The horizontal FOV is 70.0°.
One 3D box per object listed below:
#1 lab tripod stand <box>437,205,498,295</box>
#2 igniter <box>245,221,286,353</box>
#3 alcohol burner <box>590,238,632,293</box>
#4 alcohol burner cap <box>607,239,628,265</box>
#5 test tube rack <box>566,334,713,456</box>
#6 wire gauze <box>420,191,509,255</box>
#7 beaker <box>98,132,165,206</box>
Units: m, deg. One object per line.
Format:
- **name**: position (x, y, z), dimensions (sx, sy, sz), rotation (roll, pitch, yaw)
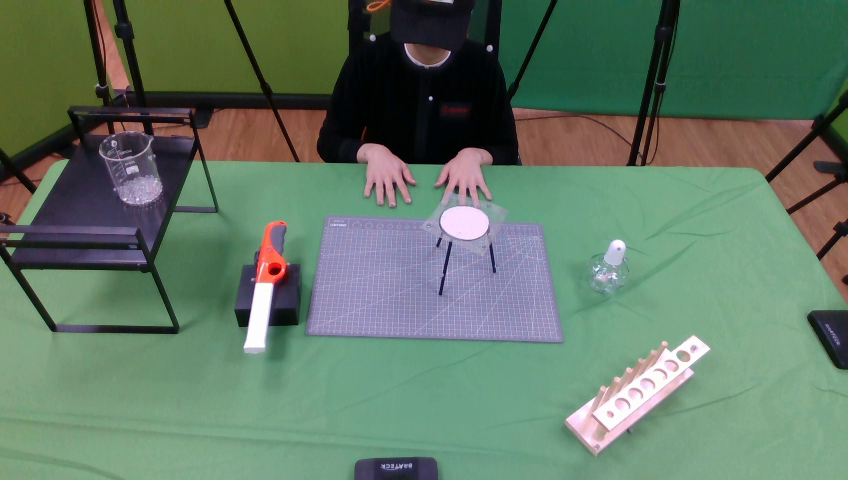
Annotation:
- **lab tripod stand**: position (0.066, 0.010, 1.107), dimensions (0.148, 0.132, 0.147), rotation (0, 46, 0)
- **igniter**: position (-0.270, 0.070, 1.040), dimensions (0.057, 0.025, 0.274), rotation (2, 48, -6)
- **alcohol burner**: position (0.348, 0.040, 1.114), dimensions (0.078, 0.119, 0.077), rotation (3, 44, -2)
- **alcohol burner cap**: position (0.351, 0.019, 1.091), dimensions (0.034, 0.048, 0.033), rotation (2, 45, -1)
- **test tube rack**: position (0.339, 0.228, 0.951), dimensions (0.242, 0.085, 0.066), rotation (-26, 52, -26)
- **wire gauze**: position (0.072, -0.035, 1.058), dimensions (0.125, 0.011, 0.121), rotation (21, 48, 18)
- **beaker**: position (-0.460, -0.112, 0.968), dimensions (0.073, 0.101, 0.084), rotation (37, 54, 28)
